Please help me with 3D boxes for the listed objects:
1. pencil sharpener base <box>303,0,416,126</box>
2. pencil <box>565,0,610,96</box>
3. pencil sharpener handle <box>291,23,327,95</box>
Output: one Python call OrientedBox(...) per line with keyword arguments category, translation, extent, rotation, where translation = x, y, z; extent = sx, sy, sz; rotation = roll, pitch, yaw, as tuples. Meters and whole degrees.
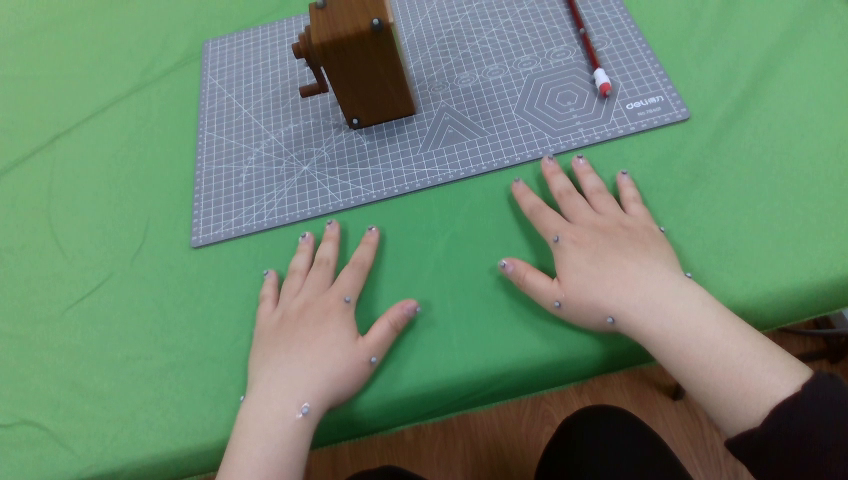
OrientedBox(category="pencil sharpener base", translation=(-0.057, -0.165, 0.551), extent=(0.076, 0.108, 0.060), rotation=(-15, 56, 4))
OrientedBox(category="pencil", translation=(0.153, -0.208, 0.592), extent=(0.012, 0.012, 0.192), rotation=(-11, 55, 6))
OrientedBox(category="pencil sharpener handle", translation=(-0.109, -0.159, 0.544), extent=(0.030, 0.068, 0.035), rotation=(-15, 55, 4))
